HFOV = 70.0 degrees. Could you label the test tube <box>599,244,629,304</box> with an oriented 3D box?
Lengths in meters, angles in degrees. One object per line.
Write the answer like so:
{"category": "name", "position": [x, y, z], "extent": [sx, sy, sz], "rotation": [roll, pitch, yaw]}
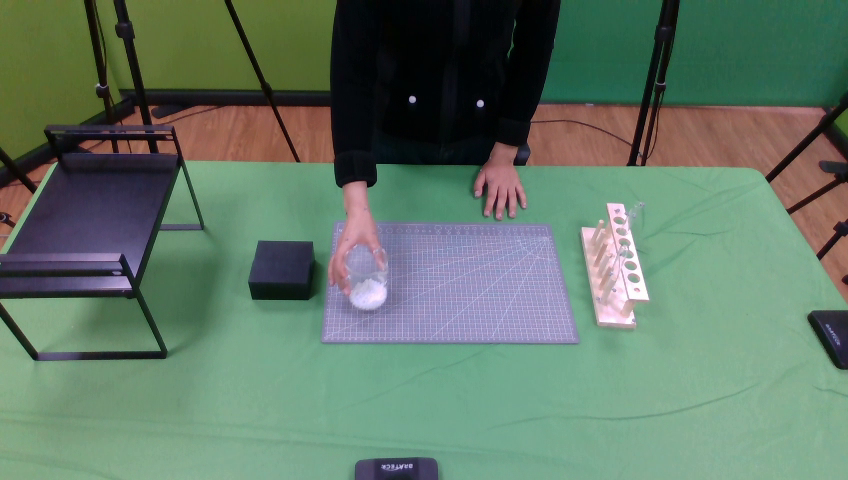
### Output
{"category": "test tube", "position": [0.331, 0.061, 1.059], "extent": [0.017, 0.151, 0.017], "rotation": [2, 46, -1]}

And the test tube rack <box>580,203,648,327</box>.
{"category": "test tube rack", "position": [0.352, 0.040, 1.143], "extent": [0.067, 0.085, 0.241], "rotation": [4, 46, -1]}

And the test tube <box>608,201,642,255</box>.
{"category": "test tube", "position": [0.374, -0.019, 1.134], "extent": [0.017, 0.151, 0.017], "rotation": [3, 52, -4]}

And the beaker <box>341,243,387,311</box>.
{"category": "beaker", "position": [-0.097, 0.067, 1.036], "extent": [0.083, 0.101, 0.074], "rotation": [26, 49, 22]}
